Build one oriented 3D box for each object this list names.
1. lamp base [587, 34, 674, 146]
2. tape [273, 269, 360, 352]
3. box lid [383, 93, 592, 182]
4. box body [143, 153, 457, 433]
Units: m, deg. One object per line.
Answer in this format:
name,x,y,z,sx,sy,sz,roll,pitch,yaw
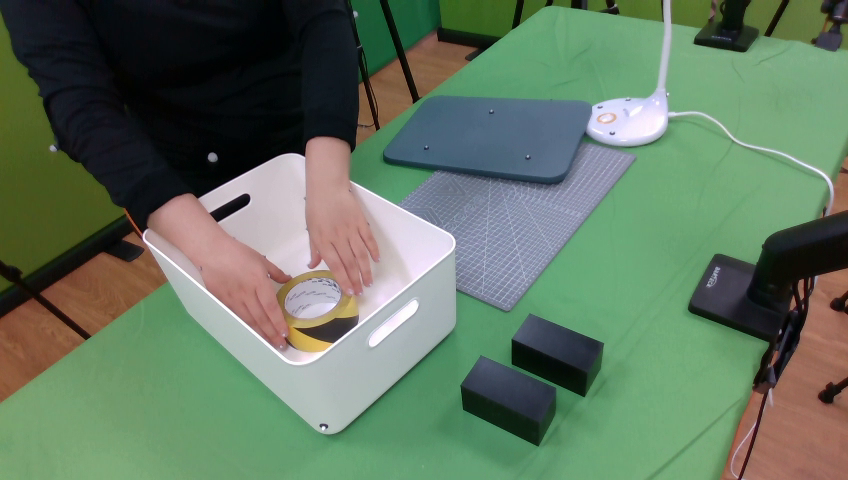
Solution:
lamp base,0.392,-0.291,1.129,0.180,0.181,0.159,-11,41,-8
tape,-0.149,0.097,0.844,0.117,0.053,0.116,-5,41,5
box lid,0.128,-0.211,1.193,0.369,0.015,0.263,9,45,22
box body,-0.158,0.055,0.819,0.361,0.161,0.255,29,52,34
